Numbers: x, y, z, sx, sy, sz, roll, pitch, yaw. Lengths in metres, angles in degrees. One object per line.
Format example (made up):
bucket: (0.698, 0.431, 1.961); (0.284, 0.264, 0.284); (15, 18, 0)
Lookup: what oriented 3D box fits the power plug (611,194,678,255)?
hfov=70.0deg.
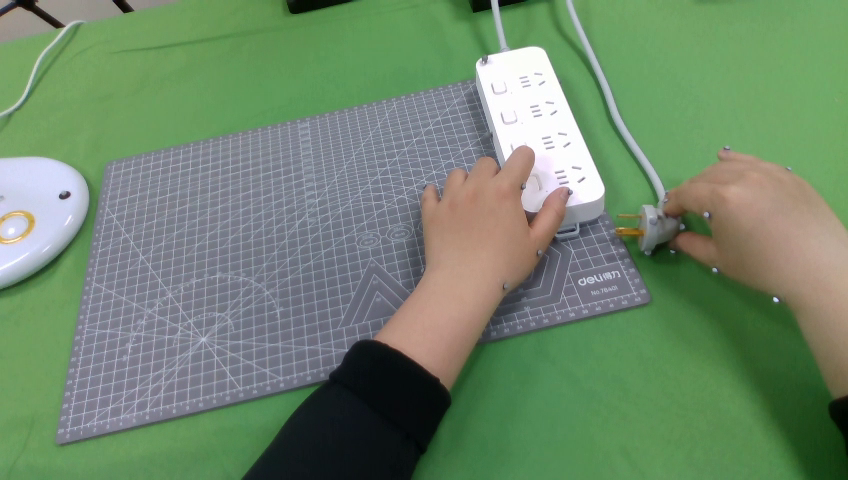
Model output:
power plug: (0.174, -0.013, 0.488); (0.052, 0.035, 0.072); (3, 19, 7)

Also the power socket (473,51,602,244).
power socket: (0.096, -0.095, 0.548); (0.072, 0.033, 0.224); (-11, 53, 0)

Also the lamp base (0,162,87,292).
lamp base: (-0.420, -0.062, 0.516); (0.178, 0.182, 0.160); (18, 57, 24)
